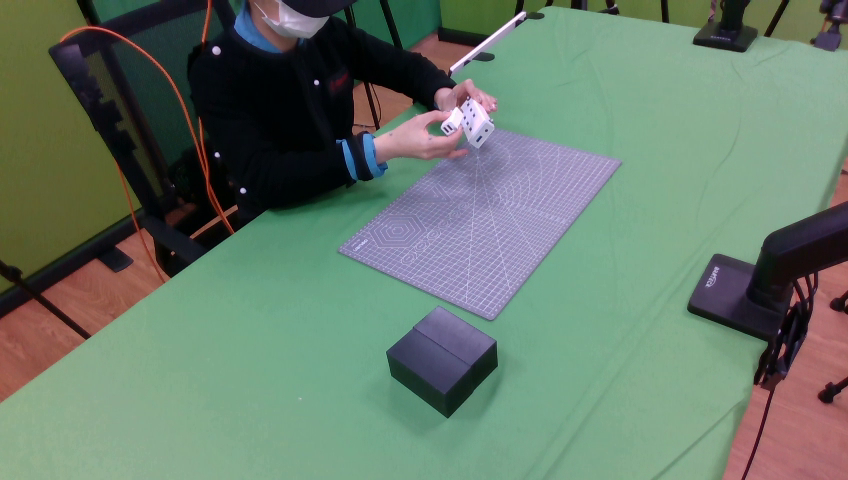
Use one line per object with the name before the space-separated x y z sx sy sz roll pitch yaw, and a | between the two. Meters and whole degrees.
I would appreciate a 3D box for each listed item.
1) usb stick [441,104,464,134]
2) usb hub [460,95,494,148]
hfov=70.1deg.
usb stick | 0.050 -0.209 1.033 0.027 0.021 0.059 -22 33 41
usb hub | 0.091 -0.214 1.081 0.025 0.049 0.124 28 26 -26
